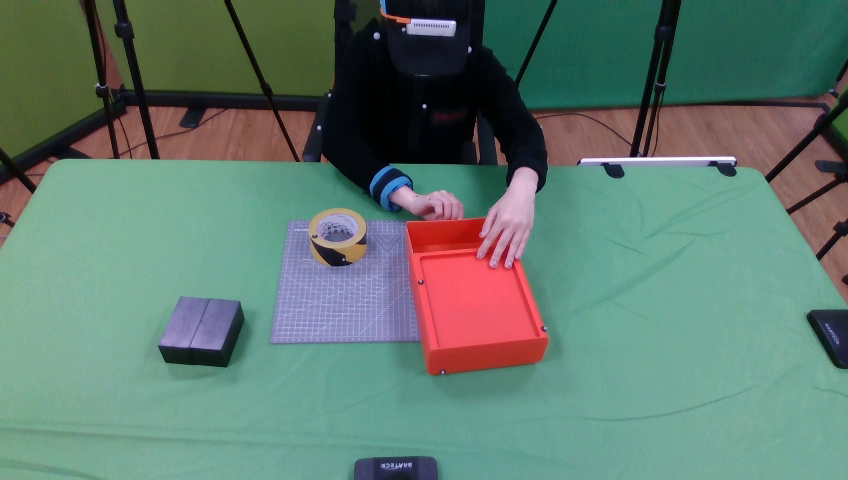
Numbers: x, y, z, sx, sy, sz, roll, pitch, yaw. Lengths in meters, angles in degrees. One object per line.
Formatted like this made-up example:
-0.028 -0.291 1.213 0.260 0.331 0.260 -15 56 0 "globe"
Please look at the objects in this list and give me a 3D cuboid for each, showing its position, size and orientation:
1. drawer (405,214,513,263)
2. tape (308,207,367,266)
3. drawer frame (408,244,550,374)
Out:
0.074 0.054 1.106 0.195 0.073 0.210 -4 48 -8 "drawer"
-0.167 -0.008 1.167 0.117 0.053 0.116 3 46 -3 "tape"
0.087 0.112 1.049 0.202 0.083 0.212 -5 47 -9 "drawer frame"
